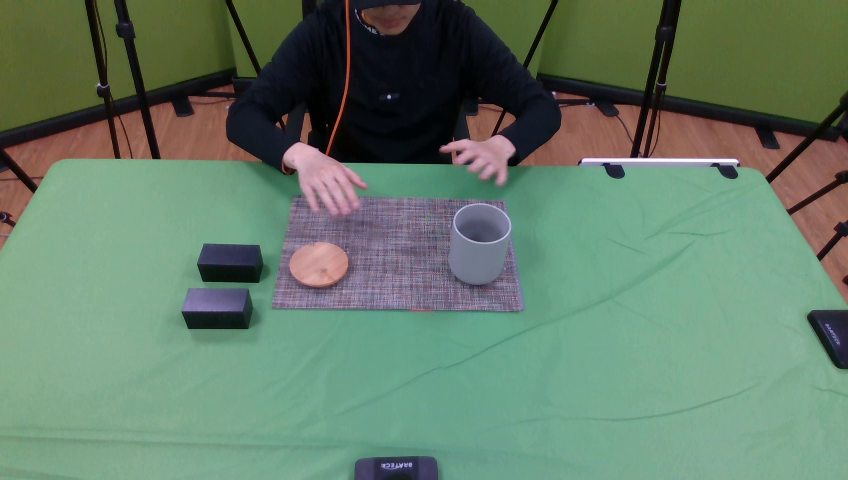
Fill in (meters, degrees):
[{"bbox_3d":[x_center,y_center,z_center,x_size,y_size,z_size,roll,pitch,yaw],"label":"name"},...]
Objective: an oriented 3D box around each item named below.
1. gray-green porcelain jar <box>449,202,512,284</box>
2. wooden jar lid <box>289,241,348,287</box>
[{"bbox_3d":[0.100,0.010,1.116,0.106,0.127,0.105,2,47,-2],"label":"gray-green porcelain jar"},{"bbox_3d":[-0.196,0.047,1.133,0.108,0.021,0.107,2,45,-2],"label":"wooden jar lid"}]
